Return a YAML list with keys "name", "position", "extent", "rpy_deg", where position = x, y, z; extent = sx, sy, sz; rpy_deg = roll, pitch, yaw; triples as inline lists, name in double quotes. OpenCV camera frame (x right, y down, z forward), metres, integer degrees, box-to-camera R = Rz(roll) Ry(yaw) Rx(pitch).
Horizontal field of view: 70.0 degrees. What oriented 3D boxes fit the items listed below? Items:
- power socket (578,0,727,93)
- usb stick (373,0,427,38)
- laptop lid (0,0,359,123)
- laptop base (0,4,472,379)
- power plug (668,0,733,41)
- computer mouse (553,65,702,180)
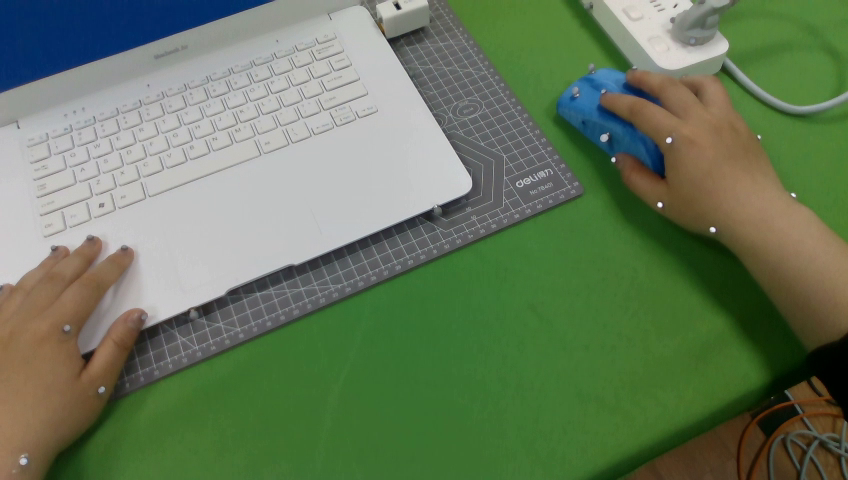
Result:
- name: "power socket"
  position: [0.189, -0.225, 0.559]
  extent: [0.072, 0.033, 0.224]
  rpy_deg: [-20, 61, -8]
- name: "usb stick"
  position: [-0.028, -0.204, 0.551]
  extent: [0.059, 0.027, 0.021]
  rpy_deg: [-23, 62, -6]
- name: "laptop lid"
  position: [-0.235, -0.229, 0.457]
  extent: [0.357, 0.244, 0.013]
  rpy_deg: [-25, 49, -9]
- name: "laptop base"
  position: [-0.167, -0.061, 0.492]
  extent: [0.354, 0.023, 0.233]
  rpy_deg: [-24, 65, -10]
- name: "power plug"
  position: [0.243, -0.186, 0.511]
  extent: [0.072, 0.053, 0.035]
  rpy_deg: [-10, 62, -4]
- name: "computer mouse"
  position: [0.162, -0.101, 0.488]
  extent: [0.063, 0.041, 0.116]
  rpy_deg: [-35, 60, -14]
